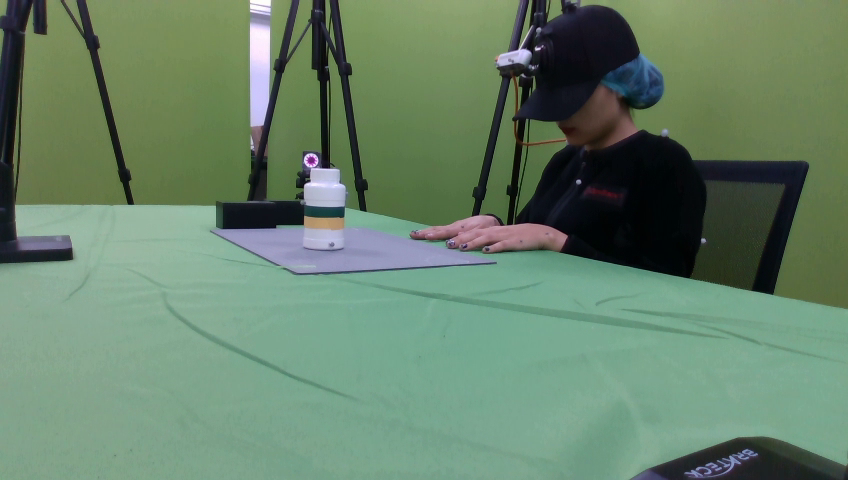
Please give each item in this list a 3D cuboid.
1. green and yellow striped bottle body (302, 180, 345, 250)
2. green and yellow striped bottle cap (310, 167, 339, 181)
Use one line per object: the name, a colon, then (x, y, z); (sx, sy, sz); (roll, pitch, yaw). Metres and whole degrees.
green and yellow striped bottle body: (-0.152, -0.047, 0.918); (0.063, 0.119, 0.063); (3, 8, 0)
green and yellow striped bottle cap: (-0.150, -0.098, 0.912); (0.045, 0.020, 0.045); (4, 8, 0)
